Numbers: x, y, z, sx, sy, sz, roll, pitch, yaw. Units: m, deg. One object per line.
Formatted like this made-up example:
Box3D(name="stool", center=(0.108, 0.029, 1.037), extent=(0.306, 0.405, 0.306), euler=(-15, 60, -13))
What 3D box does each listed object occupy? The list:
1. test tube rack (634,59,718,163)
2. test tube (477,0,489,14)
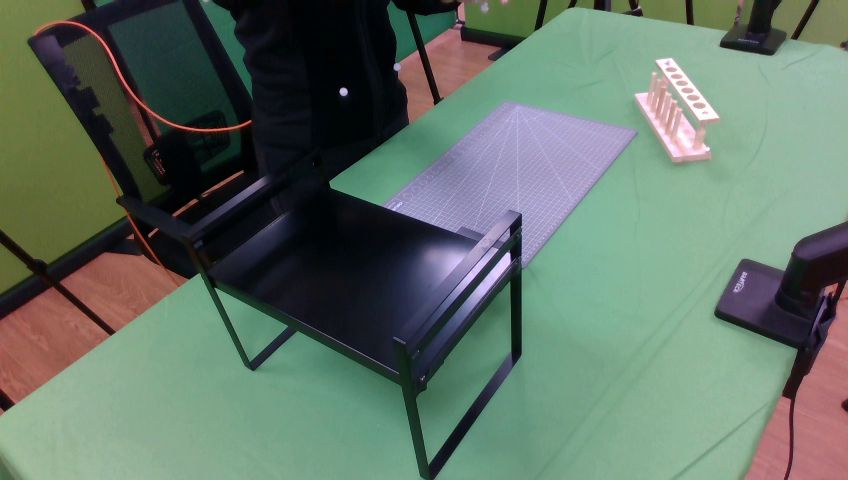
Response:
Box3D(name="test tube rack", center=(0.470, -0.251, 1.148), extent=(0.067, 0.085, 0.241), euler=(-6, 40, 3))
Box3D(name="test tube", center=(0.083, -0.399, 0.944), extent=(0.017, 0.151, 0.017), euler=(-3, 78, 15))
